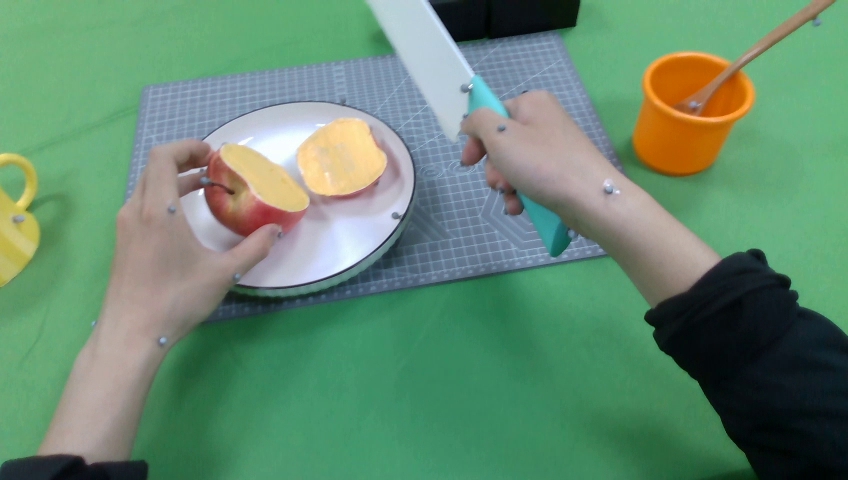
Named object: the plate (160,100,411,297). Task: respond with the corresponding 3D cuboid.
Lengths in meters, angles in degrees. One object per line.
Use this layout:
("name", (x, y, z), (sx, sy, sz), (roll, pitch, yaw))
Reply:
("plate", (-0.114, -0.037, 0.520), (0.209, 0.038, 0.207), (-1, 55, 1))

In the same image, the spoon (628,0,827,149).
("spoon", (0.260, -0.146, 0.521), (0.022, 0.194, 0.041), (21, 39, -39))

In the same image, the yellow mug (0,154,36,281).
("yellow mug", (-0.381, -0.021, 0.502), (0.099, 0.064, 0.130), (20, 56, 15))

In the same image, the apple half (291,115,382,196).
("apple half", (-0.076, -0.067, 0.534), (0.081, 0.033, 0.080), (-2, 67, 6))

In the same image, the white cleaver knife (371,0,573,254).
("white cleaver knife", (0.022, -0.113, 0.441), (0.021, 0.066, 0.284), (-20, 72, -28))

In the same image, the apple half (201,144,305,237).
("apple half", (-0.142, -0.033, 0.488), (0.080, 0.074, 0.053), (42, 107, 6))
